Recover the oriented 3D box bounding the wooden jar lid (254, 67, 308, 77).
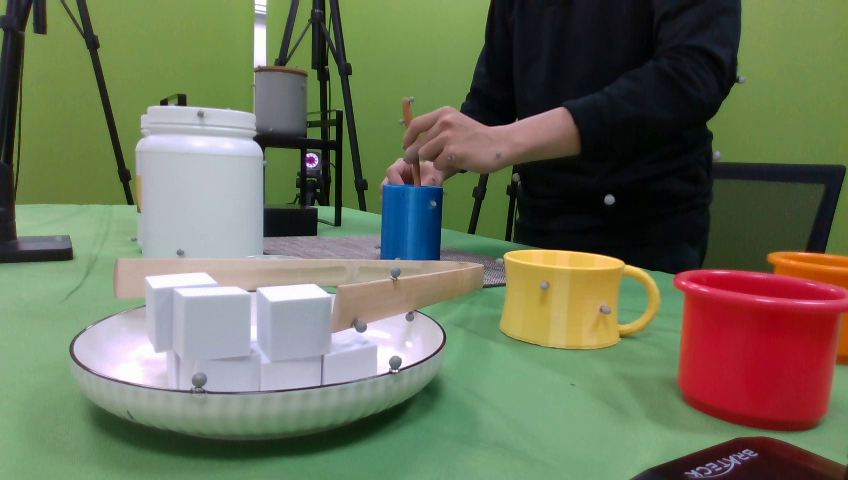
[{"bbox_3d":[-0.296,-0.339,1.251,0.108,0.020,0.108,1,7,0],"label":"wooden jar lid"}]

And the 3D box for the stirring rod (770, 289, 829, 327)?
[{"bbox_3d":[0.349,0.022,0.468,0.014,0.006,0.175,-12,-26,-50],"label":"stirring rod"}]

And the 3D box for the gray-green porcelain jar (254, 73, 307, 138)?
[{"bbox_3d":[-0.298,-0.277,1.259,0.106,0.126,0.106,3,8,0],"label":"gray-green porcelain jar"}]

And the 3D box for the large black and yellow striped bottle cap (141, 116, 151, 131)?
[{"bbox_3d":[-0.328,-0.158,0.837,0.115,0.019,0.115,2,6,0],"label":"large black and yellow striped bottle cap"}]

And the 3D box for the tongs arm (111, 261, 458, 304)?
[{"bbox_3d":[-0.080,0.032,0.527,0.028,0.027,0.389,-3,-3,33],"label":"tongs arm"}]

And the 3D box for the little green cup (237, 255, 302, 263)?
[{"bbox_3d":[-0.150,0.038,0.590,0.061,0.038,0.061,3,6,0],"label":"little green cup"}]

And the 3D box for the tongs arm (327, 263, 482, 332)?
[{"bbox_3d":[-0.003,0.036,0.493,0.050,0.026,0.386,1,0,19],"label":"tongs arm"}]

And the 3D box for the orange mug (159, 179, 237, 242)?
[{"bbox_3d":[-0.368,-0.051,0.991,0.127,0.101,0.083,-10,14,-41],"label":"orange mug"}]

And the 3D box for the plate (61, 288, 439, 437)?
[{"bbox_3d":[-0.095,0.069,0.362,0.208,0.039,0.207,3,7,0],"label":"plate"}]

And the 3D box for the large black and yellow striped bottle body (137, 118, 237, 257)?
[{"bbox_3d":[-0.330,-0.075,0.849,0.131,0.184,0.130,2,8,0],"label":"large black and yellow striped bottle body"}]

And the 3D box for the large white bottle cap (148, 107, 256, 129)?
[{"bbox_3d":[-0.250,-0.137,0.686,0.115,0.018,0.115,3,8,0],"label":"large white bottle cap"}]

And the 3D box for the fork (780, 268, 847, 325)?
[{"bbox_3d":[0.324,0.018,0.441,0.028,0.018,0.207,-3,-36,-5],"label":"fork"}]

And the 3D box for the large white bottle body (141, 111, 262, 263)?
[{"bbox_3d":[-0.254,-0.053,0.697,0.131,0.184,0.130,2,7,0],"label":"large white bottle body"}]

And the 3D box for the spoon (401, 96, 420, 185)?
[{"bbox_3d":[-0.013,-0.093,0.802,0.041,0.193,0.022,3,12,45],"label":"spoon"}]

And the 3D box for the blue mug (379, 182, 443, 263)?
[{"bbox_3d":[-0.019,-0.025,0.832,0.082,0.106,0.116,1,7,-6],"label":"blue mug"}]

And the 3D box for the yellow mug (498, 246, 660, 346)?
[{"bbox_3d":[0.130,0.045,0.508,0.131,0.064,0.100,4,7,6],"label":"yellow mug"}]
